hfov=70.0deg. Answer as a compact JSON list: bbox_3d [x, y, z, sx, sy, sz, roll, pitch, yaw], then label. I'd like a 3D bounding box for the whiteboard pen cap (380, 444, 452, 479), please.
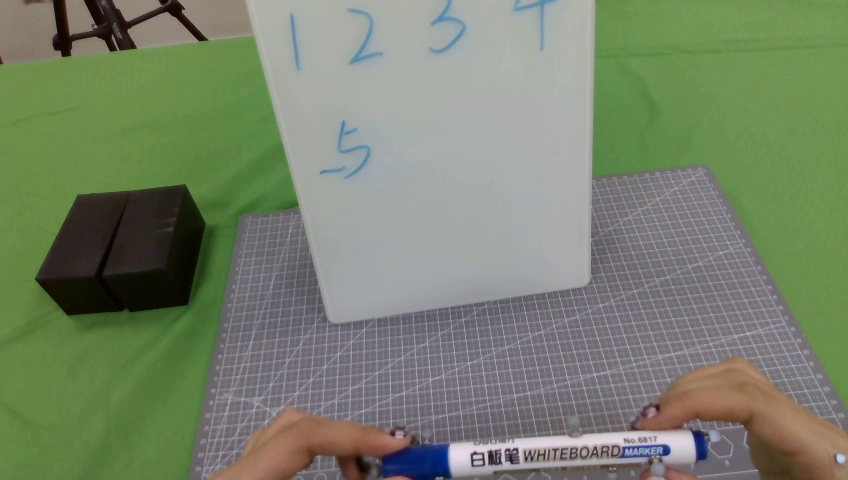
[{"bbox_3d":[-0.003,0.106,0.285,0.033,0.018,0.018,-4,48,3],"label":"whiteboard pen cap"}]

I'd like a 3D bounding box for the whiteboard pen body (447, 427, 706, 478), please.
[{"bbox_3d":[0.056,0.099,0.280,0.140,0.017,0.017,-7,47,8],"label":"whiteboard pen body"}]

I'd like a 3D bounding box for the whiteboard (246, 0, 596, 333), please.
[{"bbox_3d":[0.006,-0.106,0.475,0.217,0.308,0.142,-8,29,0],"label":"whiteboard"}]
